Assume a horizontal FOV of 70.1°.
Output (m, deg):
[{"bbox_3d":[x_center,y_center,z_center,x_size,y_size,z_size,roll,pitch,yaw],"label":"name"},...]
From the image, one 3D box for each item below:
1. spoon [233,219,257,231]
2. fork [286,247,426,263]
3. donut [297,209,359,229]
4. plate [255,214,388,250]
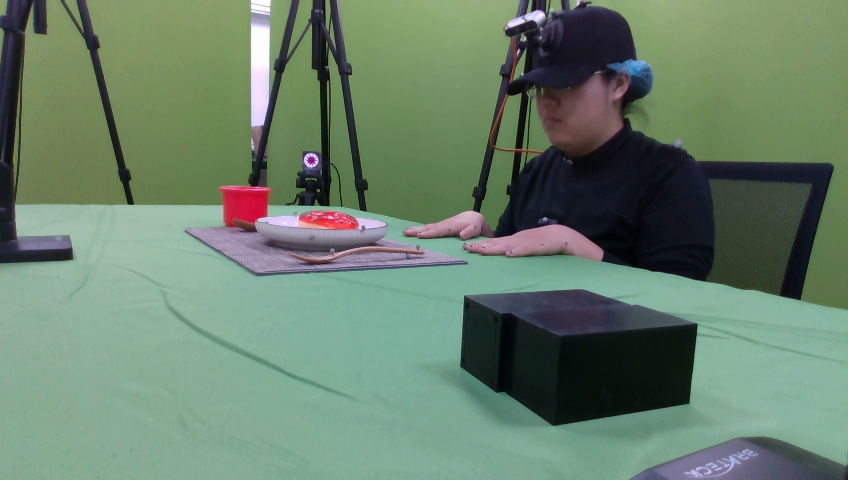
[{"bbox_3d":[-0.250,-0.028,1.108,0.195,0.021,0.041,-2,-9,-29],"label":"spoon"},{"bbox_3d":[-0.085,0.019,0.813,0.208,0.018,0.028,-4,3,-34],"label":"fork"},{"bbox_3d":[-0.151,-0.023,0.955,0.099,0.048,0.099,6,7,0],"label":"donut"},{"bbox_3d":[-0.161,-0.013,0.961,0.209,0.038,0.209,2,7,0],"label":"plate"}]
